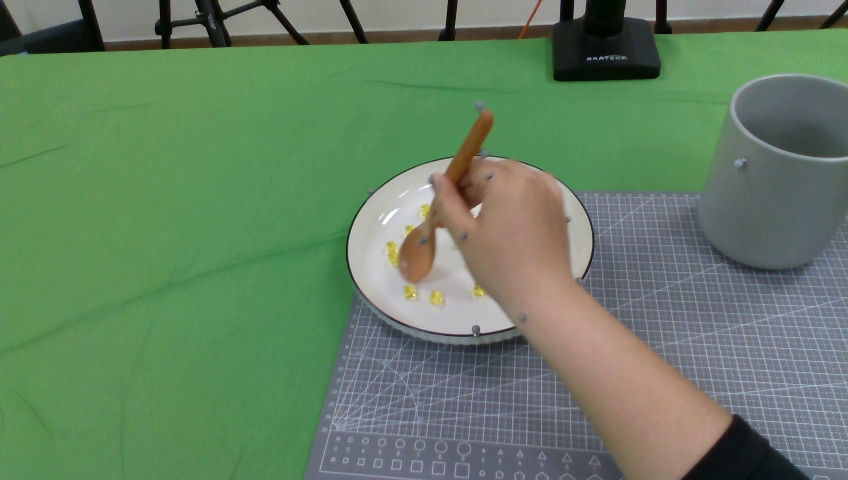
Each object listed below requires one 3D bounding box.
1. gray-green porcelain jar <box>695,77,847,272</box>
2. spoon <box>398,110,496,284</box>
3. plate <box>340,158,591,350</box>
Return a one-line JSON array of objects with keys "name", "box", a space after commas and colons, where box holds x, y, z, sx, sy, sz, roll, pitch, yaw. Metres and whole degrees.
[{"name": "gray-green porcelain jar", "box": [0.278, -0.045, 0.477, 0.106, 0.128, 0.105, -4, 47, 5]}, {"name": "spoon", "box": [0.012, -0.023, 0.446, 0.022, 0.195, 0.041, -12, 62, -23]}, {"name": "plate", "box": [0.034, 0.010, 0.519, 0.207, 0.039, 0.205, -3, 47, 4]}]
